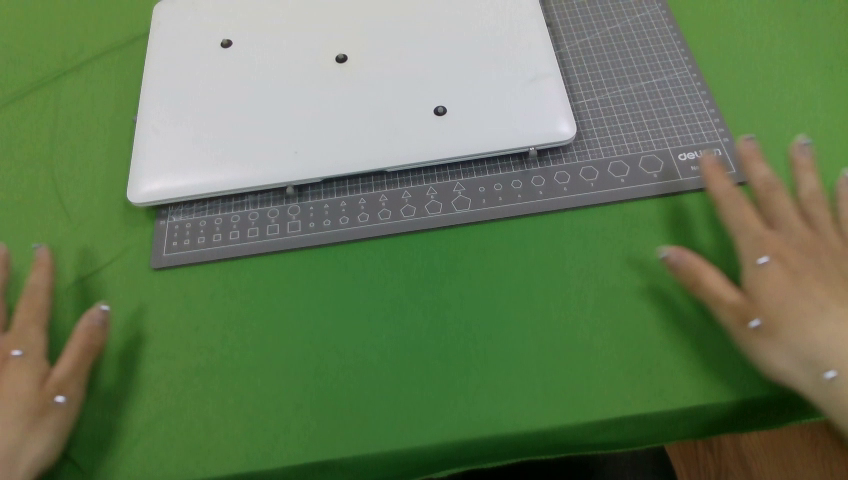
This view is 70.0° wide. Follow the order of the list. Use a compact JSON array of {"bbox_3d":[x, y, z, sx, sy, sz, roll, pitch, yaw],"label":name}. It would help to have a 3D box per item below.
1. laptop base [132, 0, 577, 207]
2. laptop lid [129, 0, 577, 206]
[{"bbox_3d":[-0.067,-0.147,0.528,0.354,0.023,0.233,-8,63,1],"label":"laptop base"},{"bbox_3d":[-0.068,-0.151,0.517,0.357,0.013,0.239,-7,62,2],"label":"laptop lid"}]
